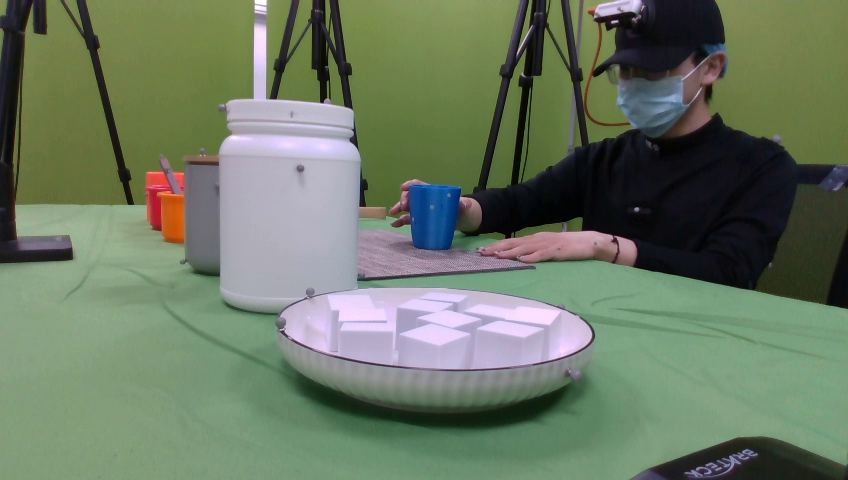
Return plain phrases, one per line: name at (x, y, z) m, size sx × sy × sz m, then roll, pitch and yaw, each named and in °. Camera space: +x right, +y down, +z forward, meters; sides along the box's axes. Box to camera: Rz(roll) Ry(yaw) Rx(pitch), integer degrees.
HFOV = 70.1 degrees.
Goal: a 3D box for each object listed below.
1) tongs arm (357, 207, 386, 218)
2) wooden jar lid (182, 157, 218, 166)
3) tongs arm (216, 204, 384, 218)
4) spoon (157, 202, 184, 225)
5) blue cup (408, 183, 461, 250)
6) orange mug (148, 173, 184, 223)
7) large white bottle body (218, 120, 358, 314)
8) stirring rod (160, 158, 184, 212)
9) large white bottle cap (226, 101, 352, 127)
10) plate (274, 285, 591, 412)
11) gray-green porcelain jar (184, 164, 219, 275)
tongs arm at (-0.251, -0.063, 1.360) m, size 0.387 × 0.026 × 0.050 m, roll -1°, pitch 3°, yaw -31°
wooden jar lid at (-0.227, -0.086, 0.714) m, size 0.108 × 0.020 × 0.108 m, roll 1°, pitch 6°, yaw 0°
tongs arm at (-0.288, -0.069, 1.435) m, size 0.389 × 0.027 × 0.028 m, roll 0°, pitch -1°, yaw -17°
spoon at (-0.425, -0.094, 1.117) m, size 0.041 × 0.022 × 0.194 m, roll 5°, pitch 51°, yaw 29°
blue cup at (0.014, -0.038, 0.970) m, size 0.093 × 0.100 × 0.092 m, roll 4°, pitch 9°, yaw 0°
orange mug at (-0.490, -0.087, 1.222) m, size 0.127 × 0.101 × 0.083 m, roll -9°, pitch 13°, yaw -38°
large white bottle body at (-0.128, -0.033, 0.578) m, size 0.131 × 0.184 × 0.130 m, roll 2°, pitch 7°, yaw 0°
stirring rod at (-0.391, -0.070, 0.972) m, size 0.014 × 0.006 × 0.175 m, roll -1°, pitch 50°, yaw -49°
large white bottle cap at (-0.125, -0.116, 0.566) m, size 0.115 × 0.018 × 0.115 m, roll 2°, pitch 8°, yaw 0°
plate at (0.005, 0.069, 0.408) m, size 0.208 × 0.039 × 0.207 m, roll 2°, pitch 7°, yaw 0°
gray-green porcelain jar at (-0.230, -0.025, 0.722) m, size 0.106 × 0.126 × 0.106 m, roll 3°, pitch 7°, yaw 0°
